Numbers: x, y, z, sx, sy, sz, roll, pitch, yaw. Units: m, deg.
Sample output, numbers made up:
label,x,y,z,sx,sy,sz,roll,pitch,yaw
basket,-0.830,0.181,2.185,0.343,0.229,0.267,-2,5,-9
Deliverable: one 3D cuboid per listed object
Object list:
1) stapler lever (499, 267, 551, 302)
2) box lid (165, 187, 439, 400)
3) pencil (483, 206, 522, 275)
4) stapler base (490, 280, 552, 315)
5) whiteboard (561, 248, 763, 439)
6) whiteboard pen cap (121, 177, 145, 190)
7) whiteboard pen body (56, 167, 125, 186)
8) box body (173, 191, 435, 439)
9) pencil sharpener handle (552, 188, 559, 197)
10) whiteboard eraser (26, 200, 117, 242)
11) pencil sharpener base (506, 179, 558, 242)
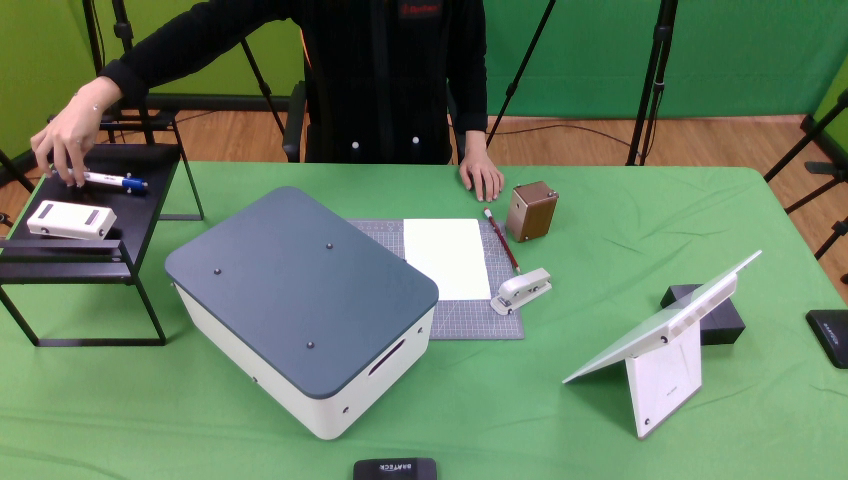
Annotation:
label,x,y,z,sx,sy,sz,roll,pitch,yaw
stapler lever,0.185,0.076,1.101,0.118,0.040,0.026,-25,57,-29
box lid,-0.186,0.060,0.925,0.370,0.015,0.263,32,53,25
pencil,0.158,-0.002,1.217,0.012,0.012,0.192,-11,48,-14
stapler base,0.181,0.094,1.118,0.130,0.024,0.041,-24,57,-29
whiteboard,0.386,0.176,0.905,0.217,0.306,0.143,-26,72,-27
whiteboard pen cap,-0.479,-0.094,0.999,0.033,0.018,0.018,8,47,2
whiteboard pen body,-0.537,-0.103,1.000,0.141,0.017,0.017,9,47,2
box body,-0.191,0.110,0.979,0.362,0.161,0.254,33,53,24
pencil sharpener handle,0.261,-0.084,1.221,0.031,0.068,0.036,-16,66,-19
whiteboard eraser,-0.532,-0.026,0.919,0.113,0.042,0.055,7,45,3
pencil sharpener base,0.216,-0.059,1.211,0.077,0.107,0.061,-16,49,-19
